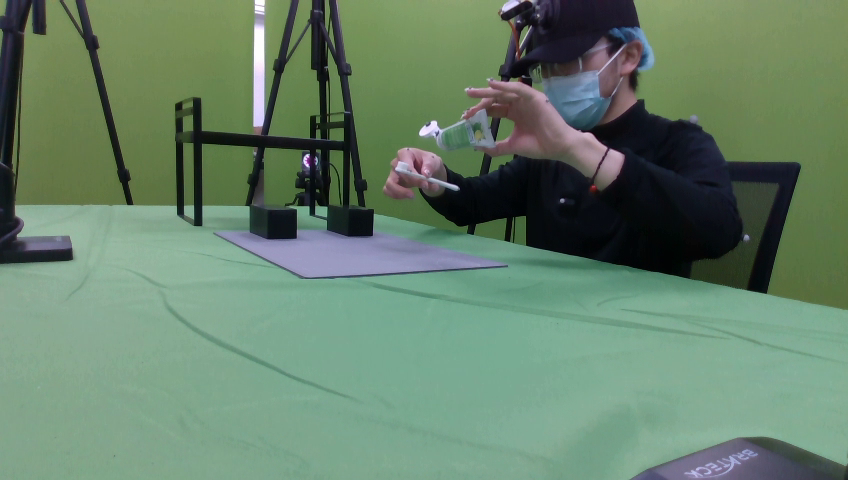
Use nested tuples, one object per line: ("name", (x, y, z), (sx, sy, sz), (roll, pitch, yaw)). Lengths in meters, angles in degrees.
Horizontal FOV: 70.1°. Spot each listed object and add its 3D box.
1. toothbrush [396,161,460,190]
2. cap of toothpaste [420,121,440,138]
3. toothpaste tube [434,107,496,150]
("toothbrush", (0.011, -0.105, 1.009), (0.014, 0.016, 0.183), (16, 3, 34))
("cap of toothpaste", (0.011, -0.176, 0.970), (0.037, 0.037, 0.011), (12, -30, 51))
("toothpaste tube", (0.058, -0.159, 0.895), (0.034, 0.055, 0.164), (-27, 13, -20))
